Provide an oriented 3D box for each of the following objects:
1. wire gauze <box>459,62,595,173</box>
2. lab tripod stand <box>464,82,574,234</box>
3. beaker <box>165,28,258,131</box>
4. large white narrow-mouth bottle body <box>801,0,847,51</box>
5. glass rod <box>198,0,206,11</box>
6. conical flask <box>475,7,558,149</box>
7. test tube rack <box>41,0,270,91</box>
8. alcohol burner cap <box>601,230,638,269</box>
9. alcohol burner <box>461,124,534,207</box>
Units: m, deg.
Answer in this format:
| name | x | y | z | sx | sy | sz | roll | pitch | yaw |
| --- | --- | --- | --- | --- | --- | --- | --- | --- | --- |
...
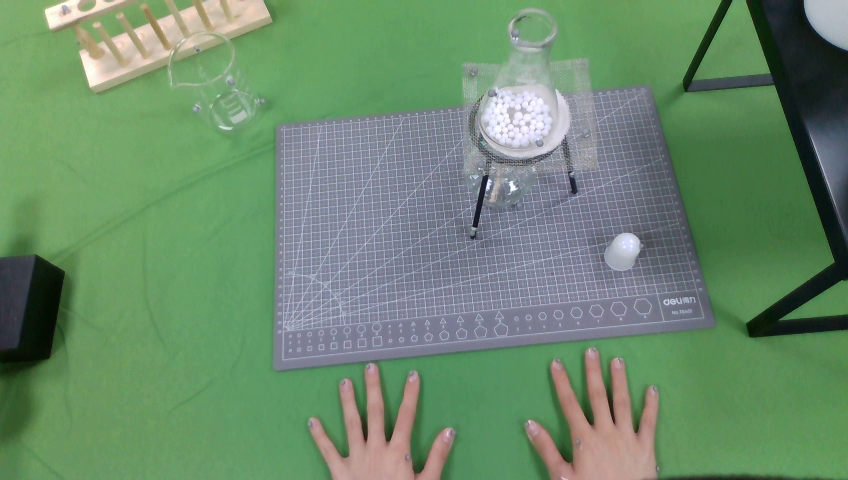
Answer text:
| name | x | y | z | sx | sy | sz | roll | pitch | yaw |
| --- | --- | --- | --- | --- | --- | --- | --- | --- | --- |
| wire gauze | 0.093 | -0.117 | 0.563 | 0.121 | 0.011 | 0.124 | 0 | 66 | 1 |
| lab tripod stand | 0.090 | -0.087 | 0.622 | 0.148 | 0.132 | 0.147 | -1 | 66 | 2 |
| beaker | -0.243 | -0.178 | 0.701 | 0.073 | 0.101 | 0.084 | 40 | 75 | 18 |
| large white narrow-mouth bottle body | 0.373 | -0.237 | 0.443 | 0.102 | 0.196 | 0.101 | -1 | 65 | 3 |
| glass rod | -0.287 | -0.344 | 0.707 | 0.008 | 0.201 | 0.008 | 1 | 65 | -1 |
| conical flask | 0.081 | -0.136 | 0.507 | 0.075 | 0.123 | 0.075 | -1 | 67 | 3 |
| test tube rack | -0.327 | -0.281 | 0.755 | 0.242 | 0.086 | 0.066 | -25 | 68 | -7 |
| alcohol burner cap | 0.204 | 0.007 | 0.626 | 0.034 | 0.048 | 0.033 | -1 | 68 | 3 |
| alcohol burner | 0.078 | -0.084 | 0.632 | 0.078 | 0.120 | 0.077 | 0 | 67 | 1 |
